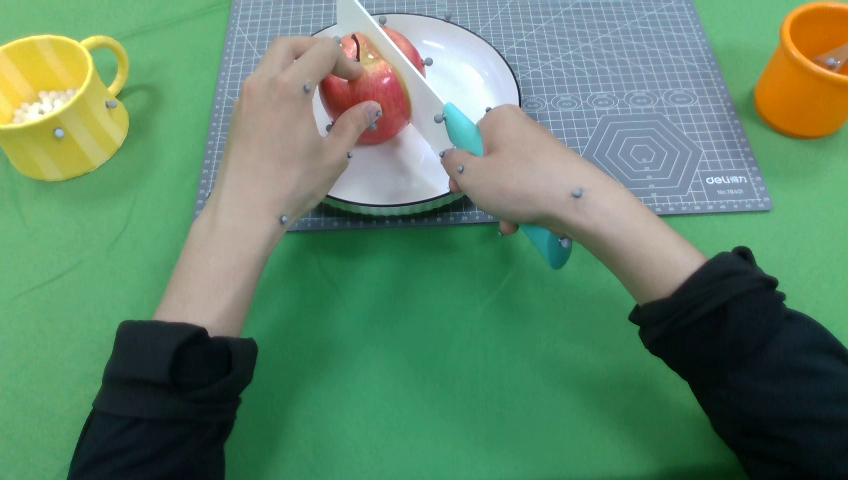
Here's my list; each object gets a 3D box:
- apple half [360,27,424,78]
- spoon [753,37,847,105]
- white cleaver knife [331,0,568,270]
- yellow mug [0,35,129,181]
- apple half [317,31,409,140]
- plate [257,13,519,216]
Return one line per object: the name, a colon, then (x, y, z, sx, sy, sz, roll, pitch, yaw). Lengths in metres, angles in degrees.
apple half: (-0.021, -0.134, 0.485, 0.033, 0.082, 0.080, -32, 64, -19)
spoon: (0.355, -0.165, 0.468, 0.022, 0.194, 0.041, 23, 47, -38)
white cleaver knife: (0.007, -0.088, 0.440, 0.021, 0.066, 0.284, -29, 66, -17)
yellow mug: (-0.296, -0.118, 0.496, 0.099, 0.064, 0.130, 29, 63, 16)
apple half: (-0.053, -0.113, 0.472, 0.053, 0.075, 0.080, -35, 67, -12)
plate: (-0.028, -0.103, 0.497, 0.209, 0.038, 0.207, 0, 60, 0)
